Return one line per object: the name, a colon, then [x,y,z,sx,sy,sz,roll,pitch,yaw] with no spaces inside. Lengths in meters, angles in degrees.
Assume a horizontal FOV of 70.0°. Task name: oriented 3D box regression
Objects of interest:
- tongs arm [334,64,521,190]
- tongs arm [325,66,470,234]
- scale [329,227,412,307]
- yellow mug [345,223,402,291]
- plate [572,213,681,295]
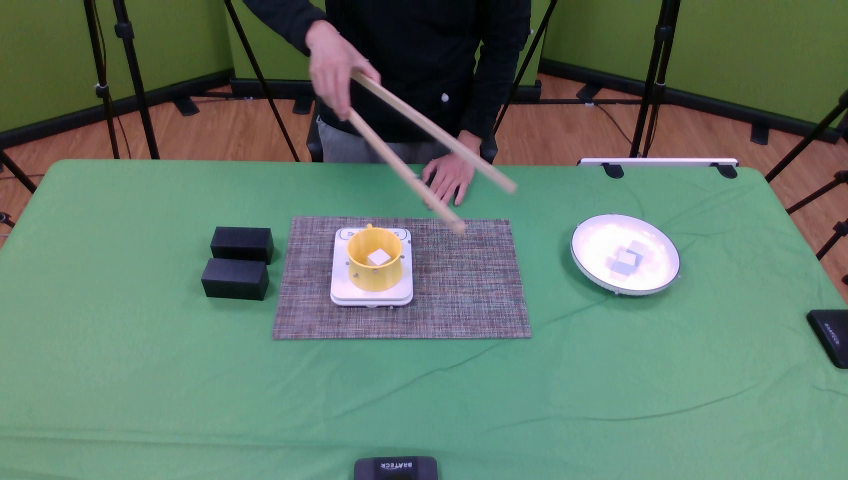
tongs arm: [0.002,-0.197,1.038,0.386,0.028,0.028,35,64,11]
tongs arm: [-0.047,-0.156,1.003,0.051,0.026,0.383,-37,72,-26]
scale: [-0.099,0.042,1.139,0.149,0.032,0.199,1,46,-4]
yellow mug: [-0.092,0.022,1.093,0.100,0.064,0.130,-7,46,-10]
plate: [0.392,0.030,1.189,0.208,0.039,0.206,2,46,-2]
